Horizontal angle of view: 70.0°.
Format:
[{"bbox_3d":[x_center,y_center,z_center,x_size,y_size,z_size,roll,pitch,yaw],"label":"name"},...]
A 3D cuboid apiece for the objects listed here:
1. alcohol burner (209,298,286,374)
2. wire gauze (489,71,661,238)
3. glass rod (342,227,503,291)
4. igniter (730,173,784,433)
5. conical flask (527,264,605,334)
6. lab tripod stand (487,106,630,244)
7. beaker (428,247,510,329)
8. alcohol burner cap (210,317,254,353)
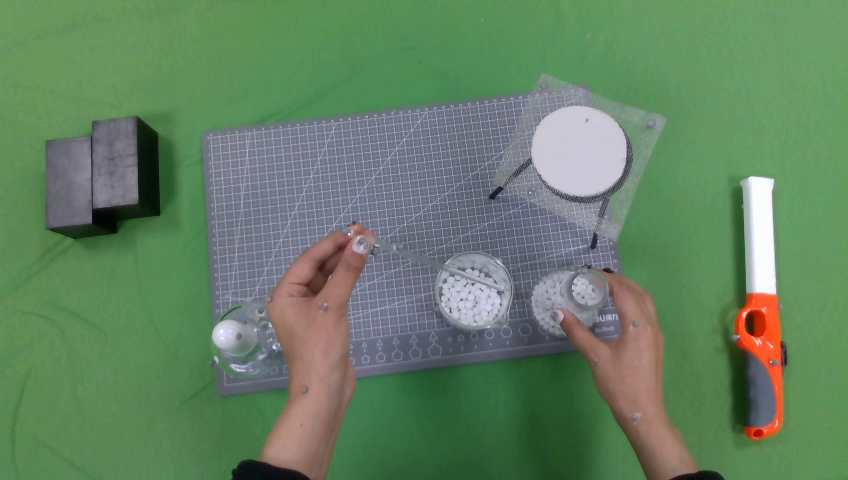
[{"bbox_3d":[-0.181,0.095,0.602,0.078,0.119,0.077,0,80,2],"label":"alcohol burner"},{"bbox_3d":[0.137,-0.082,0.551,0.125,0.011,0.121,25,83,6],"label":"wire gauze"},{"bbox_3d":[0.008,0.021,0.536,0.008,0.201,0.008,-20,60,40],"label":"glass rod"},{"bbox_3d":[0.353,0.064,0.646,0.057,0.025,0.275,6,79,-9],"label":"igniter"},{"bbox_3d":[0.146,0.053,0.600,0.075,0.122,0.075,0,79,2],"label":"conical flask"},{"bbox_3d":[0.142,-0.067,0.616,0.148,0.132,0.148,0,81,3],"label":"lab tripod stand"},{"bbox_3d":[0.047,0.055,0.613,0.074,0.100,0.083,-42,82,-6],"label":"beaker"},{"bbox_3d":[-0.182,0.087,0.567,0.034,0.048,0.033,0,72,0],"label":"alcohol burner cap"}]
